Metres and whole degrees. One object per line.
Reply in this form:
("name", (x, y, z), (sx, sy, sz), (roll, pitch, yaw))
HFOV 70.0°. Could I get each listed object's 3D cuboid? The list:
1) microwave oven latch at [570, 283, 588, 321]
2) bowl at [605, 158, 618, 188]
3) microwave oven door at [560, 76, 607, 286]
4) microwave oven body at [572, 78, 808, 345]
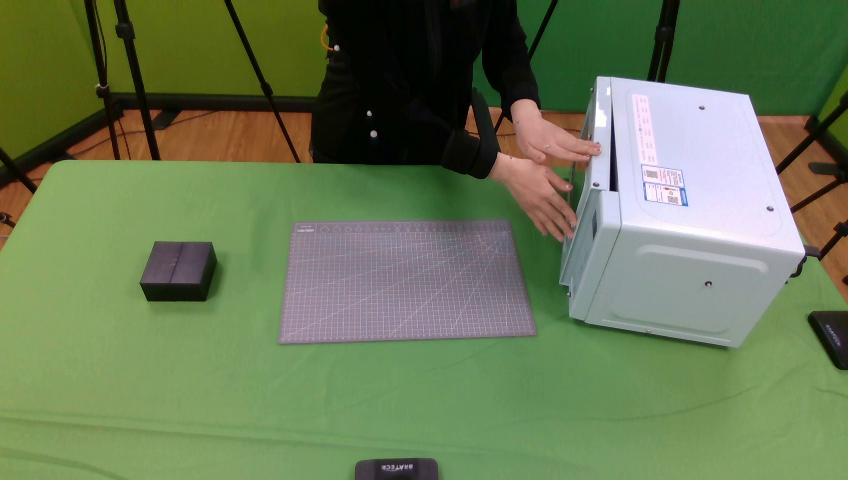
("microwave oven latch", (0.276, 0.105, 1.082), (0.030, 0.029, 0.079), (10, 45, 7))
("bowl", (0.422, -0.094, 1.195), (0.151, 0.077, 0.150), (4, 48, -4))
("microwave oven door", (0.311, -0.121, 1.161), (0.039, 0.245, 0.354), (10, 46, 7))
("microwave oven body", (0.456, -0.063, 1.124), (0.326, 0.261, 0.439), (8, 45, 5))
